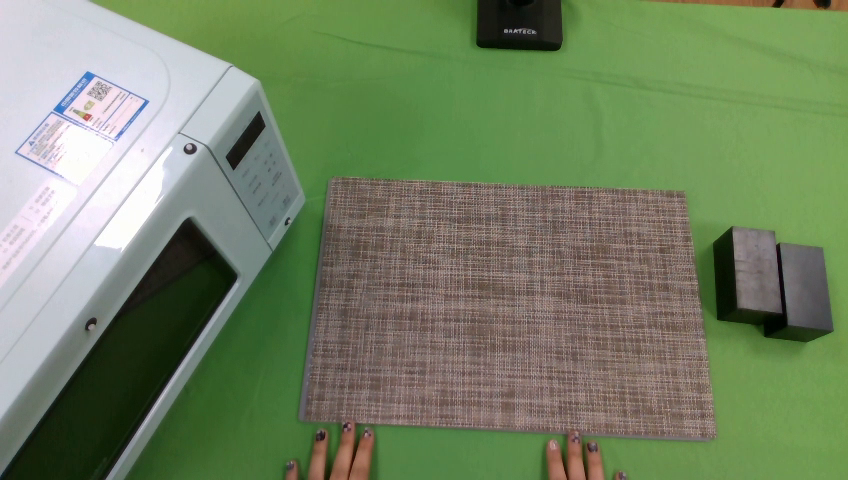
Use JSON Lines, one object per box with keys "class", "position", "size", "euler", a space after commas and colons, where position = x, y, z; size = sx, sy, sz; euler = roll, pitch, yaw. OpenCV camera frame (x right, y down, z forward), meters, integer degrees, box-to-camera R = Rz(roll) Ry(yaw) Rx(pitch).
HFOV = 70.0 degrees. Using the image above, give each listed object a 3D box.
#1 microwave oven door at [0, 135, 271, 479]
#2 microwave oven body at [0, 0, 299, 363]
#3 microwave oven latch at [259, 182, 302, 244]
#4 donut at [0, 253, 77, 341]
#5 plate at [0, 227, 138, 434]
{"class": "microwave oven door", "position": [-0.274, 0.104, 0.549], "size": [0.039, 0.245, 0.354], "euler": [25, 70, 10]}
{"class": "microwave oven body", "position": [-0.386, 0.009, 0.589], "size": [0.325, 0.262, 0.440], "euler": [26, 71, 8]}
{"class": "microwave oven latch", "position": [-0.174, -0.037, 0.716], "size": [0.030, 0.030, 0.079], "euler": [26, 71, 8]}
{"class": "donut", "position": [-0.408, 0.058, 0.619], "size": [0.099, 0.048, 0.098], "euler": [2, 53, -2]}
{"class": "plate", "position": [-0.381, 0.088, 0.604], "size": [0.209, 0.038, 0.207], "euler": [-2, 66, 6]}
